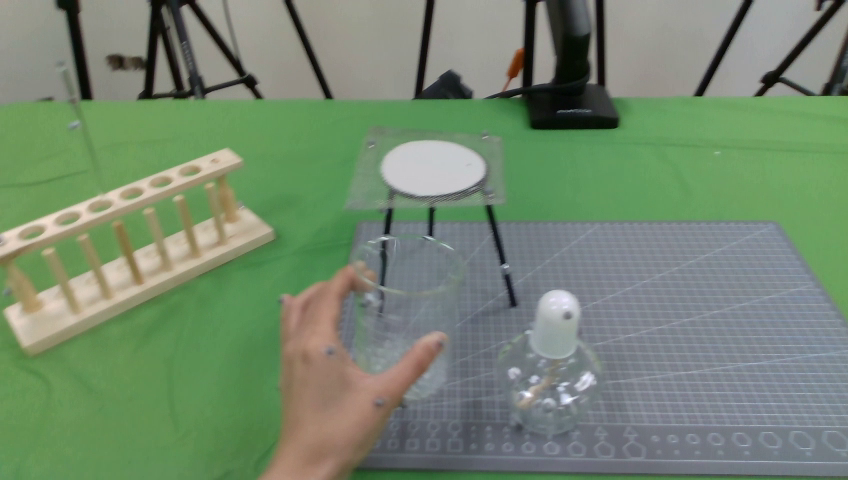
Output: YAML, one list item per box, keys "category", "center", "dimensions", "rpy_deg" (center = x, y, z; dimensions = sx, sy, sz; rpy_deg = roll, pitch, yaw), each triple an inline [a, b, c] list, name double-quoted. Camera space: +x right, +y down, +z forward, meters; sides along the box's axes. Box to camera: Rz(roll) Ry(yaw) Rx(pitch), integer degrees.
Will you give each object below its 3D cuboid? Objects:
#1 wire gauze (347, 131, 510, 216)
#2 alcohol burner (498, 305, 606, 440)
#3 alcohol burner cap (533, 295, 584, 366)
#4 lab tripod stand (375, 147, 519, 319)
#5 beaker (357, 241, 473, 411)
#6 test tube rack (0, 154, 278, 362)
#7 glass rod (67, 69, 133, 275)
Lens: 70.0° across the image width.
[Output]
- category: "wire gauze"
  center: [0.008, -0.056, 0.493]
  dimensions: [0.121, 0.011, 0.124]
  rpy_deg: [2, 38, 4]
- category: "alcohol burner"
  center: [0.092, 0.087, 0.430]
  dimensions: [0.078, 0.120, 0.077]
  rpy_deg: [-1, 39, 1]
- category: "alcohol burner cap"
  center: [0.092, 0.058, 0.408]
  dimensions: [0.034, 0.048, 0.033]
  rpy_deg: [1, 39, -1]
- category: "lab tripod stand"
  center: [0.018, -0.004, 0.536]
  dimensions: [0.148, 0.132, 0.147]
  rpy_deg: [0, 37, 0]
- category: "beaker"
  center: [-0.012, 0.060, 0.420]
  dimensions: [0.074, 0.101, 0.083]
  rpy_deg: [-21, 38, -37]
- category: "test tube rack"
  center: [-0.268, 0.007, 0.576]
  dimensions: [0.242, 0.086, 0.066]
  rpy_deg: [-29, 45, -31]
- category: "glass rod"
  center: [-0.290, -0.053, 0.547]
  dimensions: [0.008, 0.201, 0.008]
  rpy_deg: [0, 30, 0]
